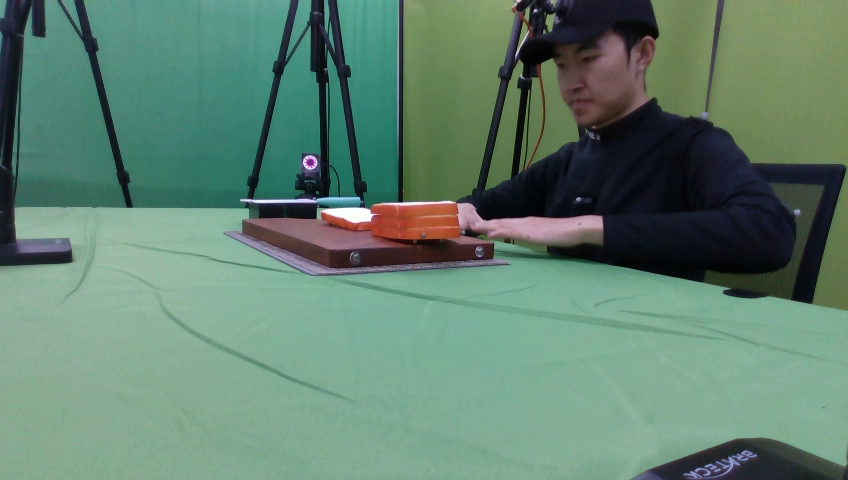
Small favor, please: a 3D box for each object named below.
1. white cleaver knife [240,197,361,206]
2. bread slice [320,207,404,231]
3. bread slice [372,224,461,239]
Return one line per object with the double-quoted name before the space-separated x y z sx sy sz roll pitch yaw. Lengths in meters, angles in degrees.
"white cleaver knife" -0.254 -0.086 1.296 0.065 0.021 0.288 9 8 43
"bread slice" -0.114 -0.037 1.042 0.105 0.019 0.131 -6 16 -41
"bread slice" -0.009 -0.012 0.888 0.107 0.018 0.134 -3 4 -21
